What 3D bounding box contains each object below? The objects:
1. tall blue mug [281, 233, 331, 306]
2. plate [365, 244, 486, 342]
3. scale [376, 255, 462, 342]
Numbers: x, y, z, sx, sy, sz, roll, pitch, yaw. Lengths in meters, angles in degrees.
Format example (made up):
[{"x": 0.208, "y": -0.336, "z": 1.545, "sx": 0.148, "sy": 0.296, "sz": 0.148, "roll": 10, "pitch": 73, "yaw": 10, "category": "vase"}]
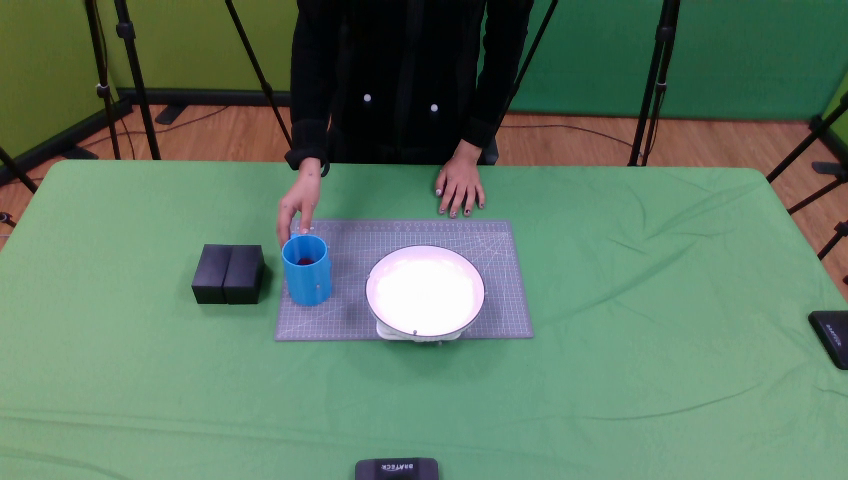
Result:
[{"x": -0.218, "y": 0.046, "z": 1.073, "sx": 0.107, "sy": 0.108, "sz": 0.077, "roll": 28, "pitch": 52, "yaw": 21, "category": "tall blue mug"}, {"x": 0.001, "y": 0.093, "z": 1.051, "sx": 0.209, "sy": 0.038, "sz": 0.208, "roll": 1, "pitch": 46, "yaw": -1, "category": "plate"}, {"x": -0.010, "y": 0.096, "z": 1.094, "sx": 0.149, "sy": 0.032, "sz": 0.199, "roll": 2, "pitch": 46, "yaw": -3, "category": "scale"}]
